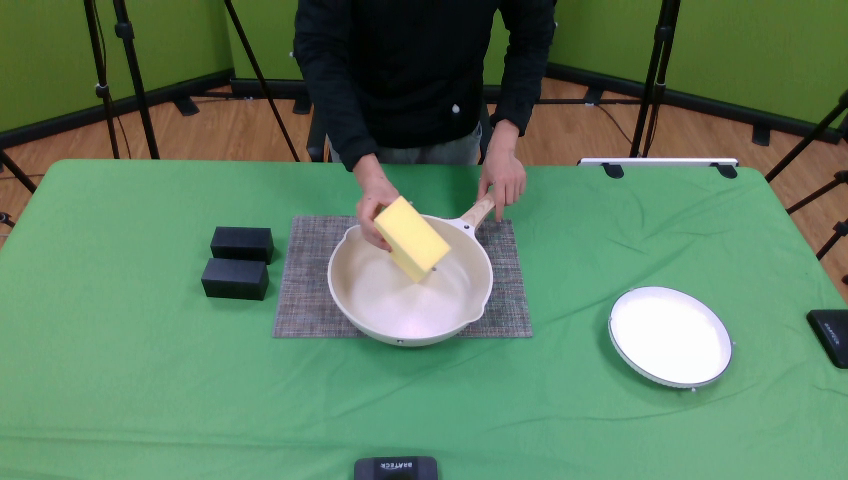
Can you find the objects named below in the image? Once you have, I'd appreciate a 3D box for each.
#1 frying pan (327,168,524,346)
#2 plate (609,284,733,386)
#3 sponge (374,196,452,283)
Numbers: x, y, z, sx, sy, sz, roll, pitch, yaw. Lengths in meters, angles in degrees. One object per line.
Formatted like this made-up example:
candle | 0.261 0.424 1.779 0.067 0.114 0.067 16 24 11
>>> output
frying pan | 0.042 0.009 1.132 0.305 0.103 0.487 34 61 24
plate | 0.425 0.167 1.059 0.208 0.039 0.206 2 46 -2
sponge | -0.025 0.006 1.046 0.061 0.207 0.118 -44 87 -9
